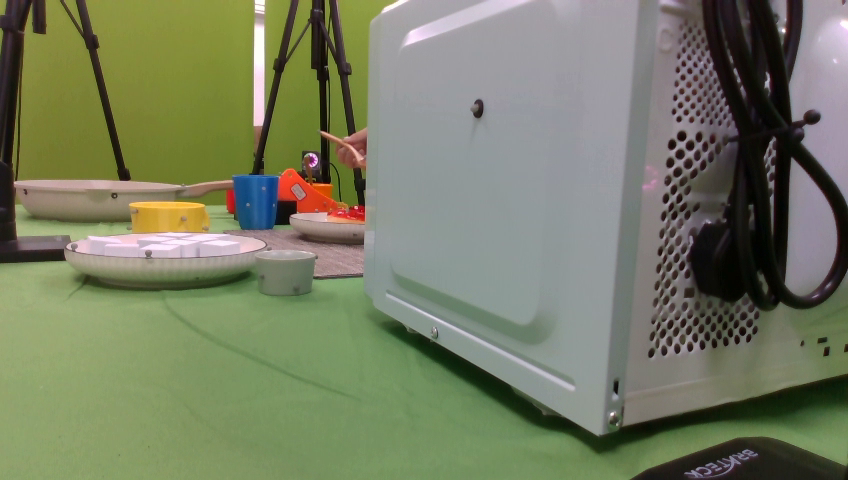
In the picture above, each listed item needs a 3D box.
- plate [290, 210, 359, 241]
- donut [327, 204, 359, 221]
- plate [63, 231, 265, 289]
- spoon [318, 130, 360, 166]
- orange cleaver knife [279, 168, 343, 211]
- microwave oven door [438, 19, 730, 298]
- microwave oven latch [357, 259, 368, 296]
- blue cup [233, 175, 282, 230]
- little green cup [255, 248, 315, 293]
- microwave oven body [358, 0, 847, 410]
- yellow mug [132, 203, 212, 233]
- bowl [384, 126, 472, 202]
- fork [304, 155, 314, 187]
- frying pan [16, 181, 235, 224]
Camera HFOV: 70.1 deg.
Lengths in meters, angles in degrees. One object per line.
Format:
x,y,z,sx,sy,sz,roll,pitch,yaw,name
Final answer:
-0.127,-0.026,1.051,0.209,0.038,0.209,3,7,0,plate
-0.120,-0.037,1.056,0.099,0.048,0.099,5,7,0,donut
-0.288,0.021,0.687,0.208,0.039,0.207,2,8,0,plate
-0.134,-0.162,1.076,0.042,0.021,0.192,5,26,-45,spoon
-0.236,-0.084,1.333,0.212,0.077,0.012,31,-9,-31,orange cleaver knife
0.181,-0.076,0.618,0.358,0.243,0.039,-2,8,-28,microwave oven door
-0.019,0.031,0.528,0.079,0.029,0.030,-1,7,-25,microwave oven latch
-0.314,-0.071,1.141,0.093,0.100,0.092,0,7,0,blue cup
-0.144,0.031,0.627,0.061,0.038,0.061,2,6,0,little green cup
0.210,-0.051,0.471,0.444,0.260,0.324,-1,7,-28,microwave oven body
-0.356,-0.020,0.878,0.099,0.064,0.131,5,7,22,yellow mug
0.017,-0.114,0.995,0.151,0.076,0.151,-18,-15,-5,bowl
-0.268,-0.134,1.446,0.028,0.018,0.207,2,-36,-1,fork
-0.554,-0.097,1.266,0.490,0.102,0.305,-10,13,-24,frying pan
